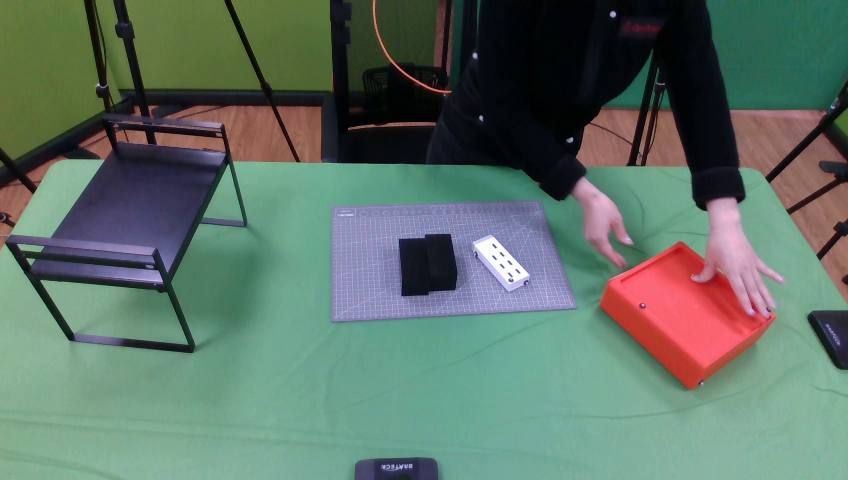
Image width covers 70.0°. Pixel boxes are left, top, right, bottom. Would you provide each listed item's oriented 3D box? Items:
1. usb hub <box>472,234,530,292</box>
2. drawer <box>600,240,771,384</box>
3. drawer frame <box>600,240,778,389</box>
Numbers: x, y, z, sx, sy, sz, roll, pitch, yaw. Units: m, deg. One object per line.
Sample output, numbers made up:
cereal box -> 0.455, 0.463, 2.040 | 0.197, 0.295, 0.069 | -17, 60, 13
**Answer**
usb hub -> 0.145, 0.043, 1.160 | 0.049, 0.025, 0.124 | -23, 51, -22
drawer -> 0.457, 0.121, 1.072 | 0.194, 0.073, 0.210 | -24, 53, -25
drawer frame -> 0.460, 0.122, 1.068 | 0.202, 0.083, 0.212 | -25, 53, -25
